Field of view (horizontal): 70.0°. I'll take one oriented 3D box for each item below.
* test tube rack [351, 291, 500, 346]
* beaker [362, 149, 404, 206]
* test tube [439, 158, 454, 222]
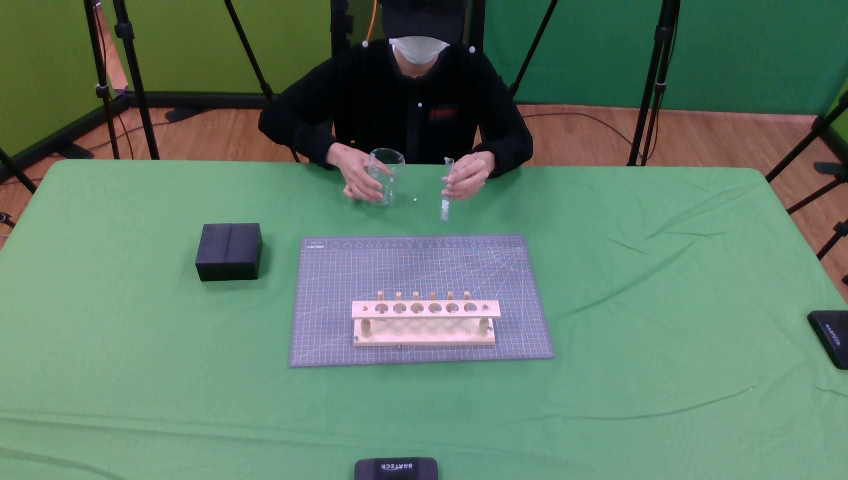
[{"bbox_3d":[0.001,0.129,1.026,0.242,0.085,0.066,0,46,-4],"label":"test tube rack"},{"bbox_3d":[-0.085,-0.127,1.242,0.084,0.100,0.073,-29,63,-35],"label":"beaker"},{"bbox_3d":[0.040,-0.087,1.098,0.017,0.151,0.017,2,48,-2],"label":"test tube"}]
